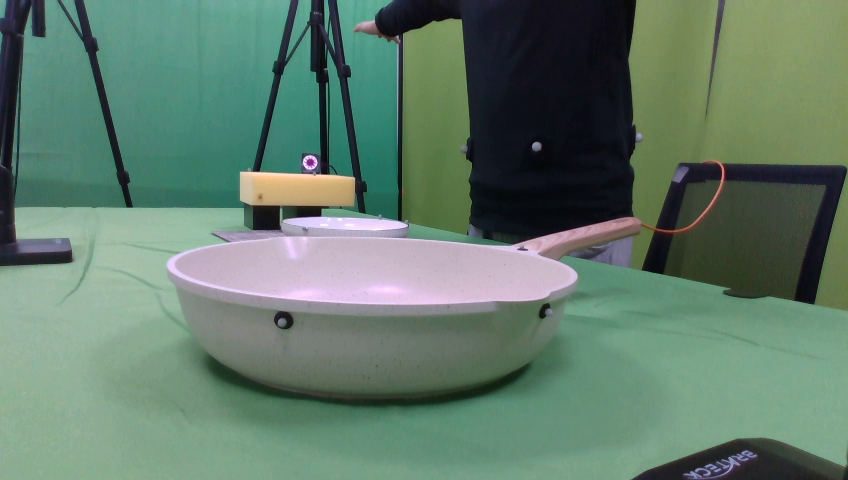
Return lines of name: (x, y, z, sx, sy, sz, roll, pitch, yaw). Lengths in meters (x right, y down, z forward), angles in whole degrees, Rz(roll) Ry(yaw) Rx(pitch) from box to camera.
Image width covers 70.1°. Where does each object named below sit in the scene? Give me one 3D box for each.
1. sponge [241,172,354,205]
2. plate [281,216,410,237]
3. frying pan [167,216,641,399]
sponge: (-0.257, -0.105, 1.226, 0.208, 0.061, 0.117, -2, 8, -28)
plate: (-0.126, -0.012, 0.986, 0.208, 0.039, 0.207, 2, 7, 0)
frying pan: (0.046, 0.024, 0.519, 0.490, 0.102, 0.305, -14, 16, -37)
